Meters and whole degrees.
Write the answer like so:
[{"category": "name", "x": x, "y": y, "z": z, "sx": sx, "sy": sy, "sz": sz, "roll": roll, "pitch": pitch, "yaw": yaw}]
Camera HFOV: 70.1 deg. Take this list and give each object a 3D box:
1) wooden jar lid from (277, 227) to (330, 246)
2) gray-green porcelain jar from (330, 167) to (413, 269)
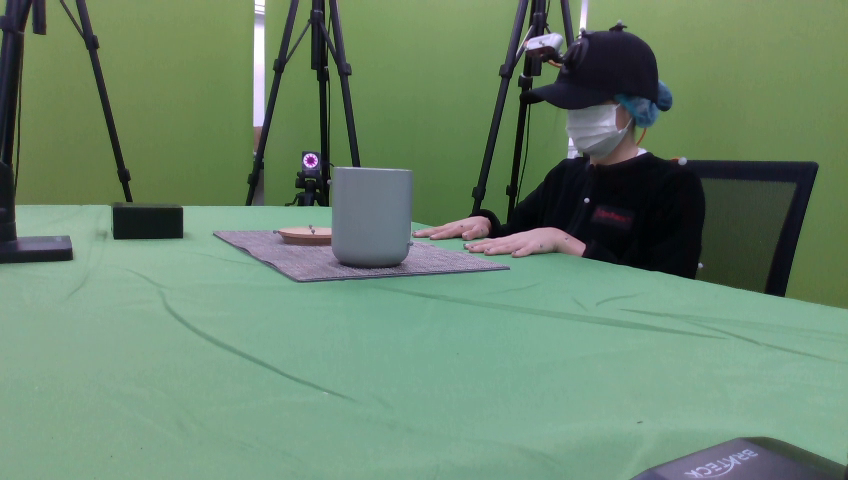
[{"category": "wooden jar lid", "x": -0.183, "y": -0.006, "z": 0.979, "sx": 0.108, "sy": 0.020, "sz": 0.108, "roll": 3, "pitch": 8, "yaw": 0}, {"category": "gray-green porcelain jar", "x": -0.069, "y": -0.030, "z": 0.791, "sx": 0.106, "sy": 0.126, "sz": 0.106, "roll": 3, "pitch": 7, "yaw": 0}]
